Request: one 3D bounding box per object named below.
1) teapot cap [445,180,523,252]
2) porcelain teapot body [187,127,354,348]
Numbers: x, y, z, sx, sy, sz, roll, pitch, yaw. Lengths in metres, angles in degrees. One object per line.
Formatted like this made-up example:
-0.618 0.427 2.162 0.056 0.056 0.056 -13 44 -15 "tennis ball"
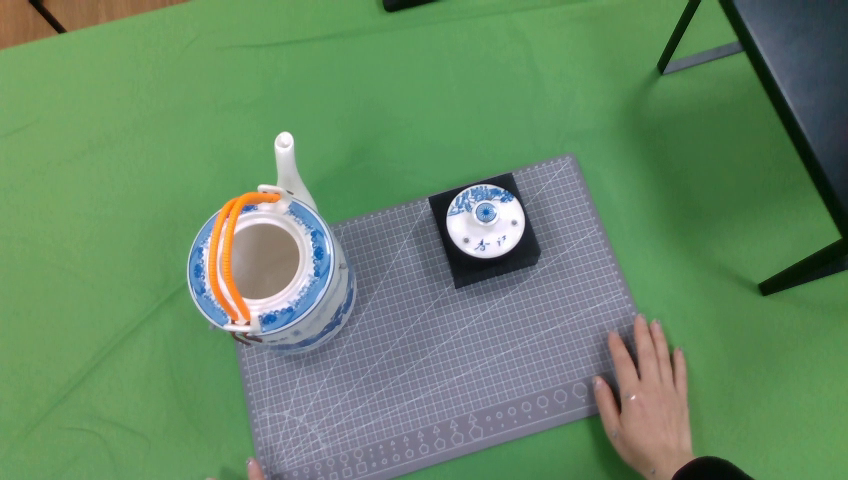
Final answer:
0.064 -0.028 0.650 0.085 0.044 0.084 -1 70 4 "teapot cap"
-0.153 -0.004 0.613 0.145 0.226 0.204 5 73 5 "porcelain teapot body"
